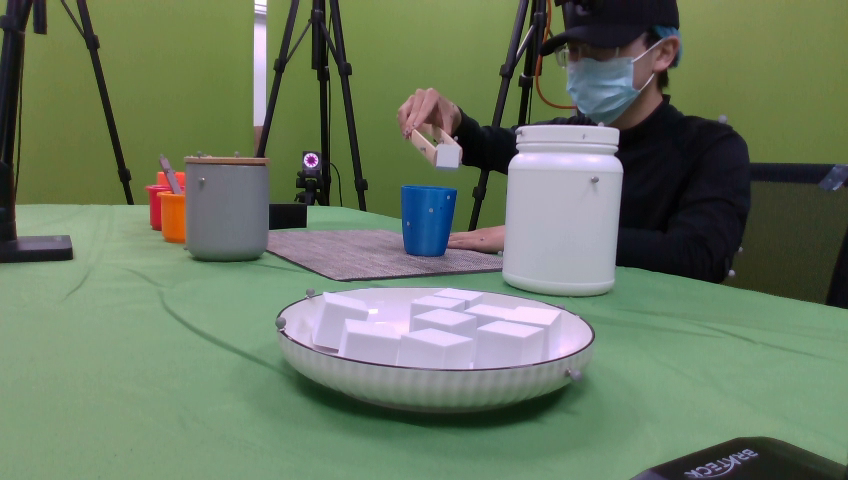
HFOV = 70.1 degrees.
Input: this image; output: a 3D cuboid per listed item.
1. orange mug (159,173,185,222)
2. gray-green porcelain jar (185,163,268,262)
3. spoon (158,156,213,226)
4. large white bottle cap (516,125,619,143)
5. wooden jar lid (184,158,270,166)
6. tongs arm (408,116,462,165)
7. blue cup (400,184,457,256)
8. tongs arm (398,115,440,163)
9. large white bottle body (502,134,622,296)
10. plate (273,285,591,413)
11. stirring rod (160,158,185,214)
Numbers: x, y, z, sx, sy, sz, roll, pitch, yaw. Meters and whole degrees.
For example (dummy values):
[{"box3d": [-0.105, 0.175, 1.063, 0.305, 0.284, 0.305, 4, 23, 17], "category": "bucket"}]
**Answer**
[{"box3d": [-0.477, -0.089, 1.241, 0.127, 0.101, 0.083, -7, 11, -33], "category": "orange mug"}, {"box3d": [-0.263, -0.038, 0.808, 0.106, 0.126, 0.106, 3, 8, 0], "category": "gray-green porcelain jar"}, {"box3d": [-0.435, -0.094, 1.121, 0.041, 0.022, 0.193, 5, 51, 14], "category": "spoon"}, {"box3d": [0.164, -0.120, 0.695, 0.115, 0.018, 0.115, 2, 8, 0], "category": "large white bottle cap"}, {"box3d": [-0.260, -0.099, 0.801, 0.108, 0.020, 0.108, 0, 9, 0], "category": "wooden jar lid"}, {"box3d": [0.011, -0.177, 1.031, 0.051, 0.026, 0.384, 5, 17, -7], "category": "tongs arm"}, {"box3d": [0.003, -0.030, 0.901, 0.093, 0.100, 0.092, 4, 9, 0], "category": "blue cup"}, {"box3d": [-0.011, -0.179, 1.027, 0.028, 0.028, 0.386, 0, 18, -10], "category": "tongs arm"}, {"box3d": [0.161, -0.037, 0.706, 0.131, 0.184, 0.130, 2, 7, 0], "category": "large white bottle body"}, {"box3d": [0.005, 0.069, 0.407, 0.208, 0.039, 0.207, 2, 7, 0], "category": "plate"}, {"box3d": [-0.390, -0.070, 0.972, 0.014, 0.006, 0.175, -3, 51, -48], "category": "stirring rod"}]
